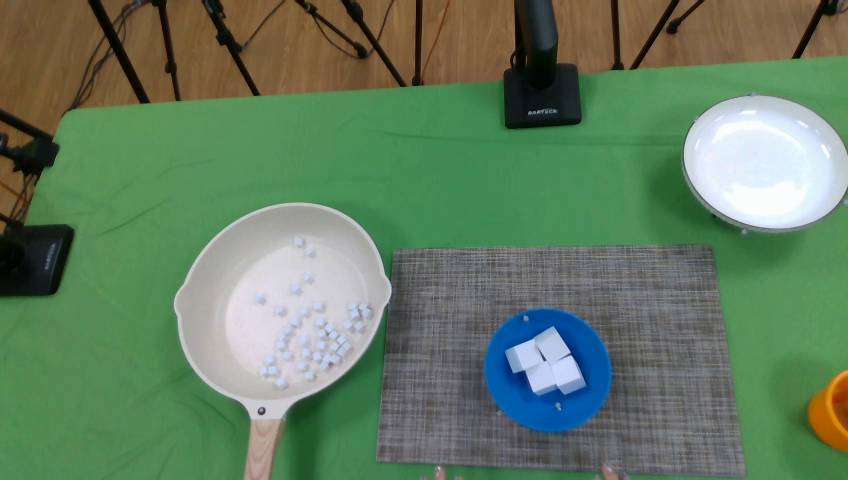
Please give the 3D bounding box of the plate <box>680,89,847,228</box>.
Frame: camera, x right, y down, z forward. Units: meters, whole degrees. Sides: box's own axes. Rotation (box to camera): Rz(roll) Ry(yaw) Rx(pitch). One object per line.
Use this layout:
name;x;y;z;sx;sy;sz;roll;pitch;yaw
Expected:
plate;0.450;-0.106;0.812;0.207;0.039;0.206;-3;67;8

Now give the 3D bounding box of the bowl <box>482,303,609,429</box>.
bowl;0.150;0.165;0.760;0.151;0.077;0.150;-3;65;7

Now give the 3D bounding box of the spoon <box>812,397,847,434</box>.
spoon;0.528;0.175;0.664;0.022;0.194;0.041;9;58;-36

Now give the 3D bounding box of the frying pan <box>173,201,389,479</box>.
frying pan;-0.199;0.173;0.799;0.306;0.104;0.483;-3;57;8
